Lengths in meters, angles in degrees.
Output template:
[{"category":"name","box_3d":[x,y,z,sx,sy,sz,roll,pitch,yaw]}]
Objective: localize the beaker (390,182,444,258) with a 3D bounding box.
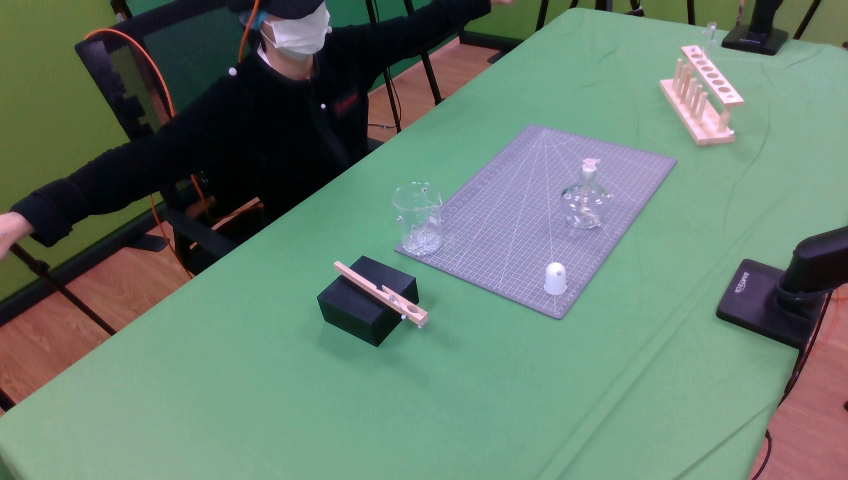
[{"category":"beaker","box_3d":[-0.005,-0.028,0.946,0.083,0.101,0.074,15,45,24]}]

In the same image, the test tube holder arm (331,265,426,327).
[{"category":"test tube holder arm","box_3d":[-0.066,0.074,0.828,0.177,0.015,0.013,25,42,33]}]

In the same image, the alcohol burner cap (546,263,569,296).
[{"category":"alcohol burner cap","box_3d":[0.191,0.053,0.862,0.034,0.048,0.033,-5,40,4]}]

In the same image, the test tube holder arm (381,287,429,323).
[{"category":"test tube holder arm","box_3d":[-0.028,0.087,0.807,0.087,0.015,0.010,25,42,33]}]

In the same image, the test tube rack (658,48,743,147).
[{"category":"test tube rack","box_3d":[0.532,-0.284,1.180,0.067,0.085,0.241,-5,40,4]}]

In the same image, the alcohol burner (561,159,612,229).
[{"category":"alcohol burner","box_3d":[0.257,-0.077,0.951,0.078,0.119,0.077,-3,40,3]}]

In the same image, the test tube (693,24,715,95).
[{"category":"test tube","box_3d":[0.543,-0.347,1.177,0.017,0.151,0.017,-5,45,5]}]
